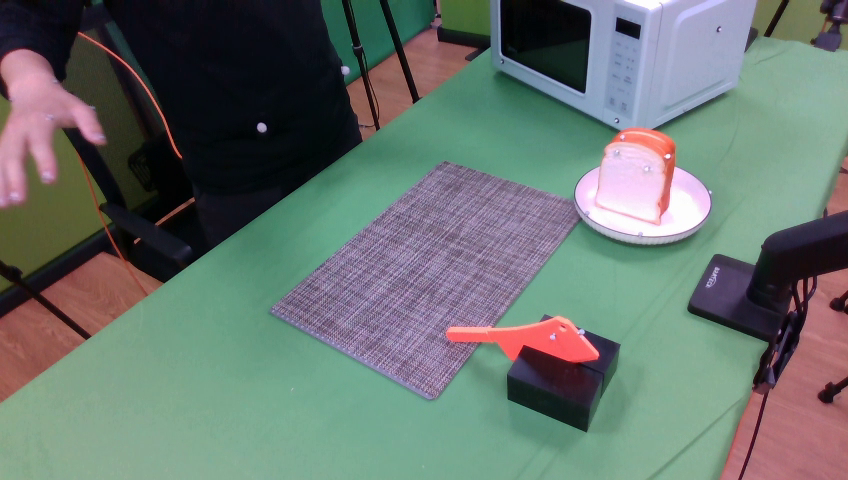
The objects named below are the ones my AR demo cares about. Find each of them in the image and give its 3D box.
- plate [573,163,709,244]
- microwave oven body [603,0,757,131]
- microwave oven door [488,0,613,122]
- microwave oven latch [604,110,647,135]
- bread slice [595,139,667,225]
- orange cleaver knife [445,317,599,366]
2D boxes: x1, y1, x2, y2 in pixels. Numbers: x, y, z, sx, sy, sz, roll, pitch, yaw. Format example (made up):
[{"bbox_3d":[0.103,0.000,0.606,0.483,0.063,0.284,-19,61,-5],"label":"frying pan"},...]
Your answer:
[{"bbox_3d":[0.347,-0.059,0.979,0.207,0.039,0.206,-4,41,4],"label":"plate"},{"bbox_3d":[0.396,-0.448,1.248,0.327,0.261,0.437,-27,44,-21],"label":"microwave oven body"},{"bbox_3d":[0.250,-0.412,1.219,0.039,0.245,0.352,-27,44,-21],"label":"microwave oven door"},{"bbox_3d":[0.378,-0.225,1.139,0.030,0.029,0.078,-27,44,-20],"label":"microwave oven latch"},{"bbox_3d":[0.320,-0.093,0.936,0.106,0.135,0.018,17,44,31],"label":"bread slice"},{"bbox_3d":[0.115,0.129,0.751,0.210,0.077,0.012,-11,30,45],"label":"orange cleaver knife"}]
